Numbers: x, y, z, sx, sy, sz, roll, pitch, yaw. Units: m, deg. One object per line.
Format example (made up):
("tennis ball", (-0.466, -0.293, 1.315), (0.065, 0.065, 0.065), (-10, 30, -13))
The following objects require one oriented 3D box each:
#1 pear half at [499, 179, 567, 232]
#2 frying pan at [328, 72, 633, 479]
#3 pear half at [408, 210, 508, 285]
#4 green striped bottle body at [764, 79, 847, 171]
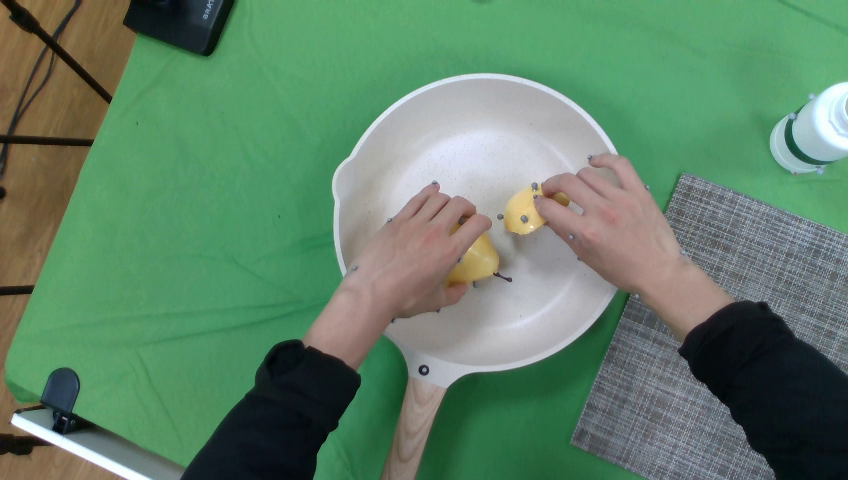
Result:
("pear half", (0.103, -0.039, 0.598), (0.070, 0.087, 0.031), (-23, 105, 27))
("frying pan", (0.019, 0.078, 0.598), (0.306, 0.103, 0.486), (18, 80, 9))
("pear half", (0.035, 0.013, 0.610), (0.109, 0.056, 0.076), (26, 101, 20))
("green striped bottle body", (0.372, -0.107, 0.561), (0.063, 0.119, 0.063), (-1, 85, 7))
